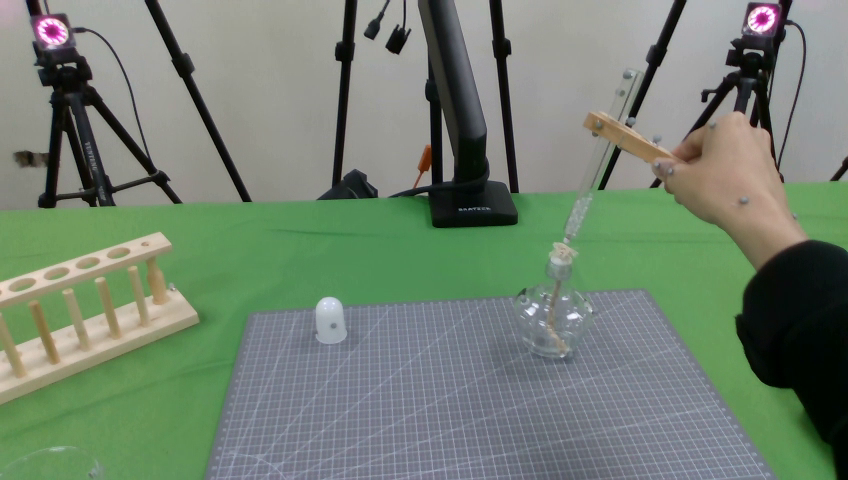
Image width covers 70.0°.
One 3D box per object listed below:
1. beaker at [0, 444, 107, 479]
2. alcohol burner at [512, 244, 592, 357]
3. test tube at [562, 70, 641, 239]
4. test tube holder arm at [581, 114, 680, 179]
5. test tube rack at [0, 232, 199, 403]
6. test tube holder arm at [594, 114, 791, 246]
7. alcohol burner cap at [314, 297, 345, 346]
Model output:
[{"bbox_3d":[-0.232,0.192,0.381,0.084,0.101,0.073,1,31,3],"label":"beaker"},{"bbox_3d":[0.126,0.055,0.591,0.078,0.120,0.077,2,31,-1],"label":"alcohol burner"},{"bbox_3d":[0.147,-0.068,0.511,0.017,0.151,0.017,13,25,-6],"label":"test tube"},{"bbox_3d":[0.165,-0.076,0.487,0.087,0.015,0.010,38,35,26],"label":"test tube holder arm"},{"bbox_3d":[-0.356,0.079,0.586,0.243,0.086,0.066,-23,38,-33],"label":"test tube rack"},{"bbox_3d":[0.198,-0.052,0.468,0.013,0.015,0.176,-12,44,-42],"label":"test tube holder arm"},{"bbox_3d":[-0.098,0.081,0.619,0.034,0.048,0.033,0,30,1],"label":"alcohol burner cap"}]
